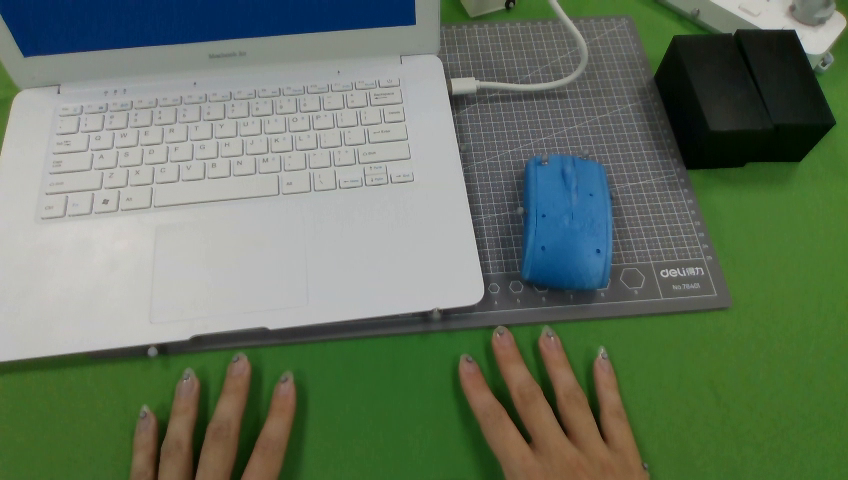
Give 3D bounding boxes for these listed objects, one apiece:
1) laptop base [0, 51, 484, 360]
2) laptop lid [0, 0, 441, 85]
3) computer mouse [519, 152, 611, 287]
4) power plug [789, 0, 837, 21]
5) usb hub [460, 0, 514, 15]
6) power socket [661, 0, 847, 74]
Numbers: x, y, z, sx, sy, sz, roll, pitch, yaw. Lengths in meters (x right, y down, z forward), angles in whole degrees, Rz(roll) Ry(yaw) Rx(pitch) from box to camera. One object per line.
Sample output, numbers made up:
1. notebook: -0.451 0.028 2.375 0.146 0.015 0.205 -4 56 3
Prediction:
1. laptop base: -0.146 -0.039 0.463 0.355 0.023 0.233 -6 66 -5
2. laptop lid: -0.164 -0.221 0.428 0.357 0.244 0.013 -7 49 -3
3. computer mouse: 0.104 -0.021 0.446 0.063 0.041 0.116 7 57 4
4. power plug: 0.358 -0.219 0.539 0.072 0.053 0.035 -34 66 -16
5. usb hub: 0.040 -0.273 0.589 0.049 0.025 0.124 -19 64 -12
6. power socket: 0.284 -0.234 0.571 0.225 0.033 0.072 39 67 18
